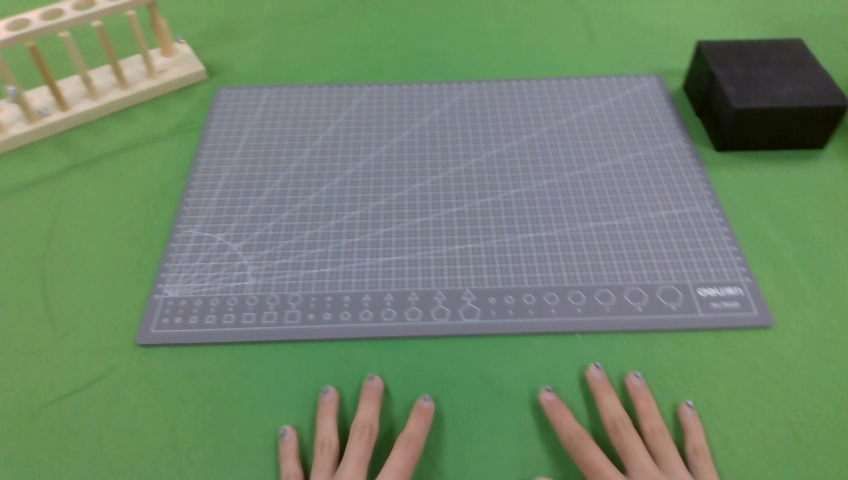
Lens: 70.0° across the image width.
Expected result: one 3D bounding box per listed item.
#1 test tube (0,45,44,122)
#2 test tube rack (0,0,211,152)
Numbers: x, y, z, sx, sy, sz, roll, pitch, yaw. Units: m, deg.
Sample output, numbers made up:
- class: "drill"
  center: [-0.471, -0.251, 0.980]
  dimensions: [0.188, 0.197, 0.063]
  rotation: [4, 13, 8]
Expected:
- class: "test tube"
  center: [-0.367, -0.164, 0.512]
  dimensions: [0.017, 0.151, 0.017]
  rotation: [-1, 49, 2]
- class: "test tube rack"
  center: [-0.340, -0.165, 0.571]
  dimensions: [0.242, 0.086, 0.066]
  rotation: [-27, 55, -20]
